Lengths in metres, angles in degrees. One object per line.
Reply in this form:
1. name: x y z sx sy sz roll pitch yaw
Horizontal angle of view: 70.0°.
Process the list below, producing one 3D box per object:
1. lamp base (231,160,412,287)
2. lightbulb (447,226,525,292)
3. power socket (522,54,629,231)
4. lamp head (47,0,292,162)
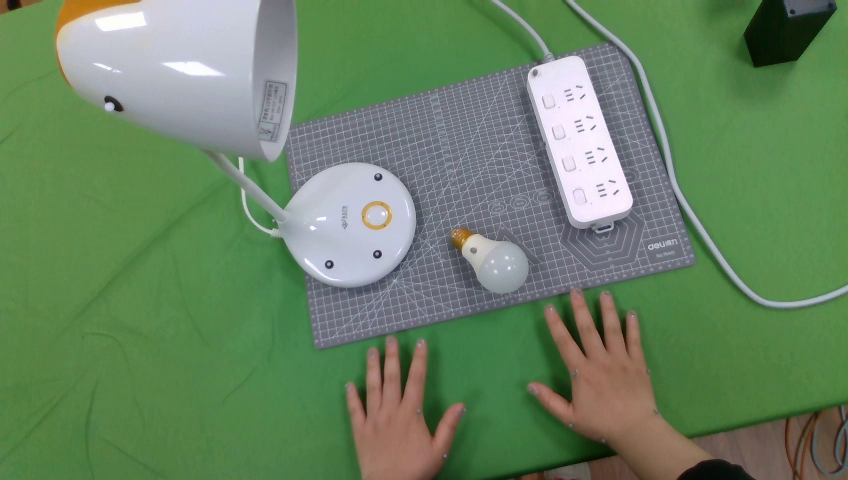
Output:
1. lamp base: -0.118 -0.038 0.665 0.179 0.181 0.159 -16 73 7
2. lightbulb: 0.067 0.017 0.691 0.106 0.060 0.059 36 83 30
3. power socket: 0.177 -0.120 0.720 0.072 0.033 0.225 -15 73 3
4. lamp head: -0.144 -0.105 0.355 0.123 0.113 0.112 4 76 2
